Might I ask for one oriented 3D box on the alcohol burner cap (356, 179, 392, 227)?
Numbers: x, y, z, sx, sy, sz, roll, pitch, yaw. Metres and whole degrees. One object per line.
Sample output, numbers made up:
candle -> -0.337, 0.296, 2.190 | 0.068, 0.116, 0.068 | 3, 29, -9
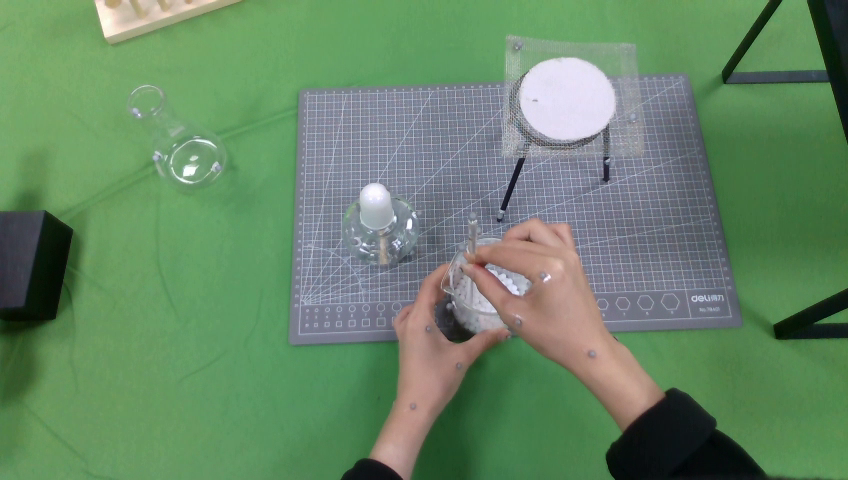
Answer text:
alcohol burner cap -> -0.047, -0.037, 0.551 | 0.034, 0.048, 0.033 | 1, 63, -2

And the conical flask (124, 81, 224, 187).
conical flask -> -0.260, -0.112, 0.619 | 0.075, 0.122, 0.075 | 0, 69, 1

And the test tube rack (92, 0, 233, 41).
test tube rack -> -0.285, -0.326, 0.718 | 0.242, 0.086, 0.066 | -21, 71, -7

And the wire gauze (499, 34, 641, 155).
wire gauze -> 0.129, -0.131, 0.538 | 0.121, 0.011, 0.124 | 3, 70, 1

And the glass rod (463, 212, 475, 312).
glass rod -> 0.037, 0.025, 0.501 | 0.008, 0.201, 0.008 | -1, 65, 3

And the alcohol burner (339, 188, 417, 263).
alcohol burner -> -0.045, -0.022, 0.584 | 0.078, 0.120, 0.077 | 0, 68, 0

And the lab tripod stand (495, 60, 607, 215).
lab tripod stand -> 0.123, -0.103, 0.600 | 0.148, 0.132, 0.147 | 0, 68, 0

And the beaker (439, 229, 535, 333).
beaker -> 0.056, 0.044, 0.566 | 0.084, 0.101, 0.073 | -12, 69, -3
